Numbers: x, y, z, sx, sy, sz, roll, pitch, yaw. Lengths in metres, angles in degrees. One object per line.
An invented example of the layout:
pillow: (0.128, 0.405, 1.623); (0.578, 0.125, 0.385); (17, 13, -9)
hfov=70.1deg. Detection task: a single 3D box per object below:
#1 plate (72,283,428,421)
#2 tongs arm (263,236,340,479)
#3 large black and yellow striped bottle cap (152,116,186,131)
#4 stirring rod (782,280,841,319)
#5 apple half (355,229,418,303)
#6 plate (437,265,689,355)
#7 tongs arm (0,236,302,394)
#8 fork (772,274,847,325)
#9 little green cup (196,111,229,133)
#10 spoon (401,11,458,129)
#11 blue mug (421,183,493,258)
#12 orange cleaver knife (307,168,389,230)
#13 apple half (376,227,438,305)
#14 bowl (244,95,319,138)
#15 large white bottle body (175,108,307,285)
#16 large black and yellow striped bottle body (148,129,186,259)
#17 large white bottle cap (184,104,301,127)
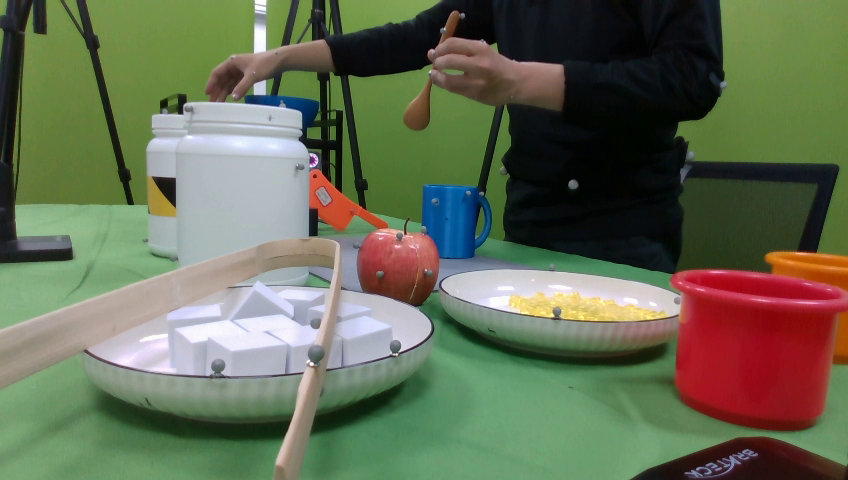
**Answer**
plate: (-0.102, 0.066, 0.381); (0.208, 0.039, 0.207); (2, 7, 0)
tongs arm: (-0.074, 0.039, 0.349); (0.051, 0.026, 0.384); (-2, 9, -3)
large black and yellow striped bottle cap: (-0.309, -0.155, 0.826); (0.115, 0.019, 0.115); (3, 6, 0)
stirring rod: (0.344, 0.019, 0.461); (0.014, 0.006, 0.176); (-13, -27, -30)
apple half: (-0.043, 0.027, 0.564); (0.081, 0.081, 0.033); (9, 5, 42)
plate: (0.114, 0.057, 0.517); (0.209, 0.038, 0.209); (3, 8, 0)
tongs arm: (-0.158, 0.038, 0.351); (0.028, 0.028, 0.388); (-3, 8, 11)
fork: (0.332, 0.018, 0.443); (0.028, 0.018, 0.207); (-1, -36, -15)
little green cup: (-0.403, -0.225, 1.154); (0.061, 0.038, 0.061); (3, 8, 0)
spoon: (0.009, -0.235, 0.856); (0.041, 0.193, 0.021); (22, 38, -2)
blue mug: (0.052, -0.032, 0.912); (0.117, 0.106, 0.082); (-1, 8, -24)
orange cleaver knife: (-0.158, -0.060, 1.166); (0.212, 0.077, 0.012); (34, -13, -32)
apple half: (-0.017, 0.026, 0.593); (0.080, 0.074, 0.053); (4, 2, 43)
bowl: (-0.293, -0.251, 1.249); (0.151, 0.077, 0.151); (2, 8, 0)
large white bottle body: (-0.188, -0.042, 0.630); (0.131, 0.184, 0.130); (2, 8, 0)
large black and yellow striped bottle body: (-0.310, -0.073, 0.838); (0.131, 0.184, 0.130); (2, 8, 0)
large white bottle cap: (-0.184, -0.126, 0.618); (0.115, 0.018, 0.115); (2, 8, 0)
